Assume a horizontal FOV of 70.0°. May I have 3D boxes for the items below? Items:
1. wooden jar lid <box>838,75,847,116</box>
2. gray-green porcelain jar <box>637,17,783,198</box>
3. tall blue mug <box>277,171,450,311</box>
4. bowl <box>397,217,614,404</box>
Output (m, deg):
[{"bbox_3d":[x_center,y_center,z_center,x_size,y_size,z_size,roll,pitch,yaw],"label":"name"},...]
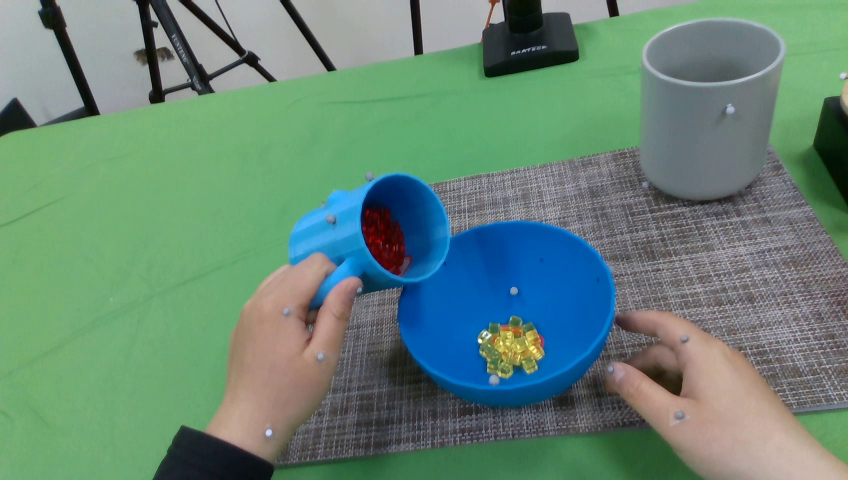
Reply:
[{"bbox_3d":[0.393,-0.110,0.483,0.108,0.021,0.107,-10,43,10],"label":"wooden jar lid"},{"bbox_3d":[0.239,-0.108,0.522,0.106,0.128,0.105,-9,44,9],"label":"gray-green porcelain jar"},{"bbox_3d":[-0.049,0.013,0.441,0.107,0.078,0.106,-15,51,51],"label":"tall blue mug"},{"bbox_3d":[0.062,0.062,0.441,0.151,0.077,0.150,-9,43,9],"label":"bowl"}]
